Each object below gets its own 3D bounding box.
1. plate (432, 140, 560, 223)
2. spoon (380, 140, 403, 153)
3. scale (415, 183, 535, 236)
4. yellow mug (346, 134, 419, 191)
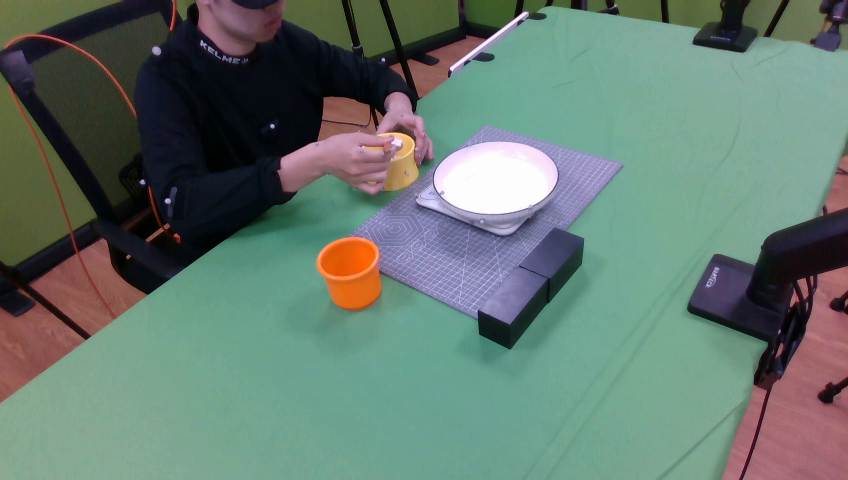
[{"bbox_3d":[0.118,-0.094,0.999,0.209,0.038,0.208,-4,41,4],"label":"plate"},{"bbox_3d":[-0.059,-0.156,1.007,0.041,0.021,0.193,-8,9,2],"label":"spoon"},{"bbox_3d":[0.099,-0.080,1.036,0.199,0.032,0.149,23,48,31],"label":"scale"},{"bbox_3d":[-0.079,-0.142,1.115,0.131,0.064,0.099,-7,39,3],"label":"yellow mug"}]
